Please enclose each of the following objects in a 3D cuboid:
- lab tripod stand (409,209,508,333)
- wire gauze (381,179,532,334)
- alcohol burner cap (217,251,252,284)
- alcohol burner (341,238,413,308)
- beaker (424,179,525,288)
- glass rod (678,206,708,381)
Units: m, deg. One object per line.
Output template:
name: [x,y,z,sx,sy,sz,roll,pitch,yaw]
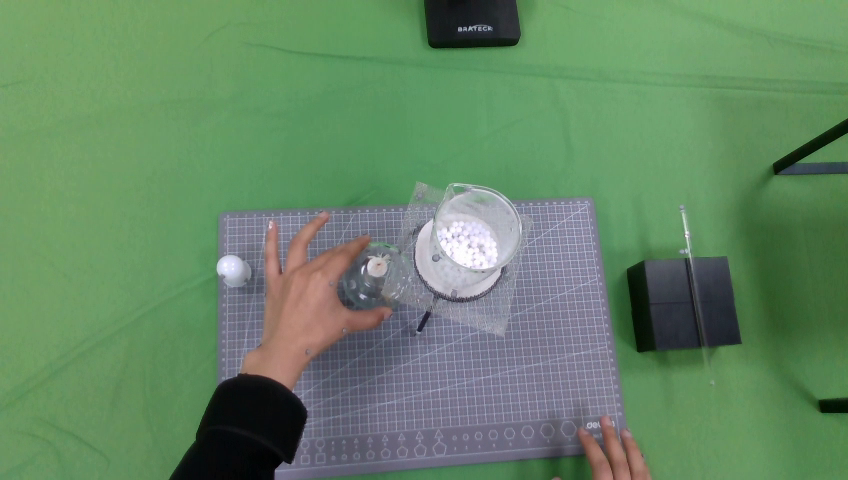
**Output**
lab tripod stand: [0.032,0.027,0.645,0.148,0.132,0.147,2,75,-5]
wire gauze: [0.033,0.013,0.581,0.125,0.011,0.121,19,77,-4]
alcohol burner cap: [-0.211,0.029,0.668,0.034,0.048,0.033,1,75,-4]
alcohol burner: [-0.049,0.032,0.646,0.078,0.119,0.077,2,77,-7]
beaker: [0.037,-0.002,0.535,0.074,0.100,0.083,-27,79,-12]
glass rod: [0.303,0.057,0.682,0.008,0.008,0.198,-1,77,-5]
